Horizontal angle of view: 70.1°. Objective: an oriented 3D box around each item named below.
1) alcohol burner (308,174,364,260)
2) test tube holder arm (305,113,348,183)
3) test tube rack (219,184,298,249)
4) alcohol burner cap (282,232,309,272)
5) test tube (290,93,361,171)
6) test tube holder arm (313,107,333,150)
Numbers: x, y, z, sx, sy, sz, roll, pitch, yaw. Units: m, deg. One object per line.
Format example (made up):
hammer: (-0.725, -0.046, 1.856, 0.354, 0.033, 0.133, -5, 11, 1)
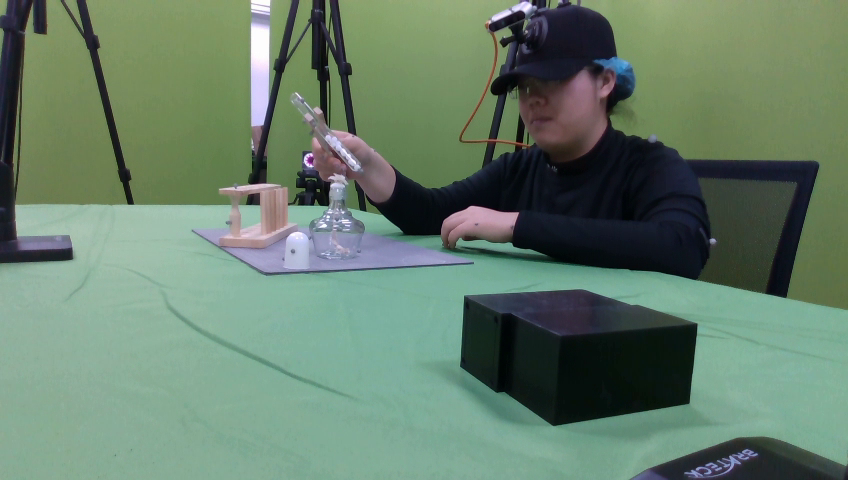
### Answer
alcohol burner: (-0.121, -0.033, 0.841, 0.078, 0.119, 0.078, 3, 5, 0)
test tube holder arm: (-0.143, -0.133, 0.903, 0.013, 0.015, 0.179, -37, -24, -9)
test tube rack: (-0.266, -0.045, 1.001, 0.067, 0.085, 0.242, 3, 7, 0)
alcohol burner cap: (-0.157, 0.014, 0.740, 0.034, 0.048, 0.034, 2, 6, 0)
test tube: (-0.137, -0.149, 0.837, 0.150, 0.017, 0.017, 48, 23, 14)
test tube holder arm: (-0.143, -0.155, 0.864, 0.010, 0.015, 0.088, -35, -24, -15)
